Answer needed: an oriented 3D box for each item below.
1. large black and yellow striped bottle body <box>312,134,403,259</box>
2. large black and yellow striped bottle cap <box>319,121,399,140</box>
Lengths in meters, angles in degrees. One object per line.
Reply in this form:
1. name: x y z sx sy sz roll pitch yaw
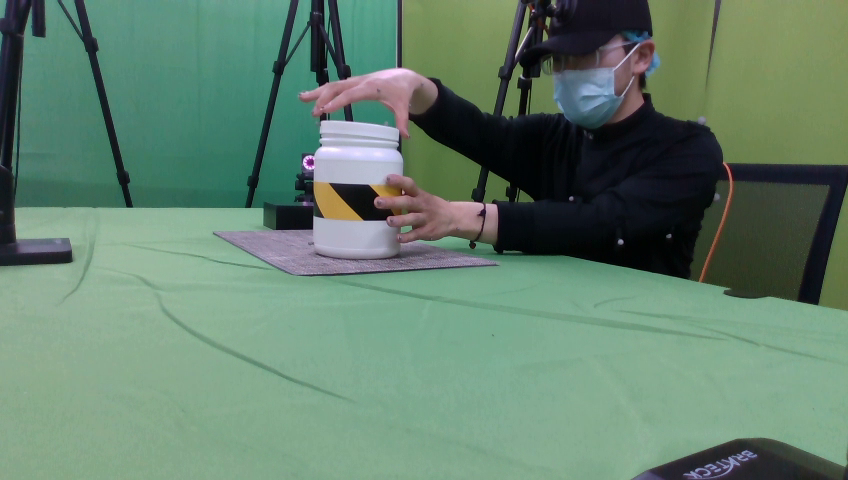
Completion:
1. large black and yellow striped bottle body: -0.096 -0.071 0.885 0.131 0.184 0.130 2 8 0
2. large black and yellow striped bottle cap: -0.093 -0.157 0.873 0.115 0.019 0.115 3 6 0
